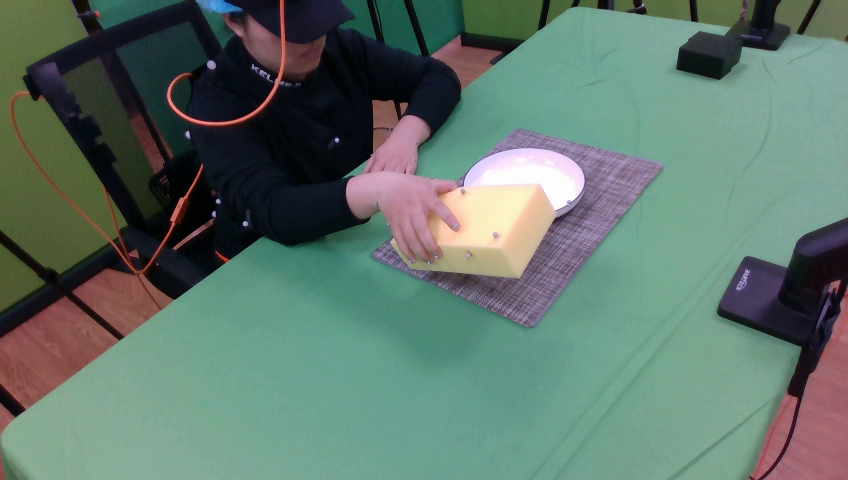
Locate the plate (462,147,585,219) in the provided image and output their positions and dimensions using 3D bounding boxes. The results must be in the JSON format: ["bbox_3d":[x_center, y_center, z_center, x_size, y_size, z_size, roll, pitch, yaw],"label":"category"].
[{"bbox_3d":[0.170,-0.089,1.041,0.207,0.039,0.206,-5,40,5],"label":"plate"}]

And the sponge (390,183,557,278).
[{"bbox_3d":[0.066,-0.016,0.851,0.205,0.061,0.118,2,49,44],"label":"sponge"}]
